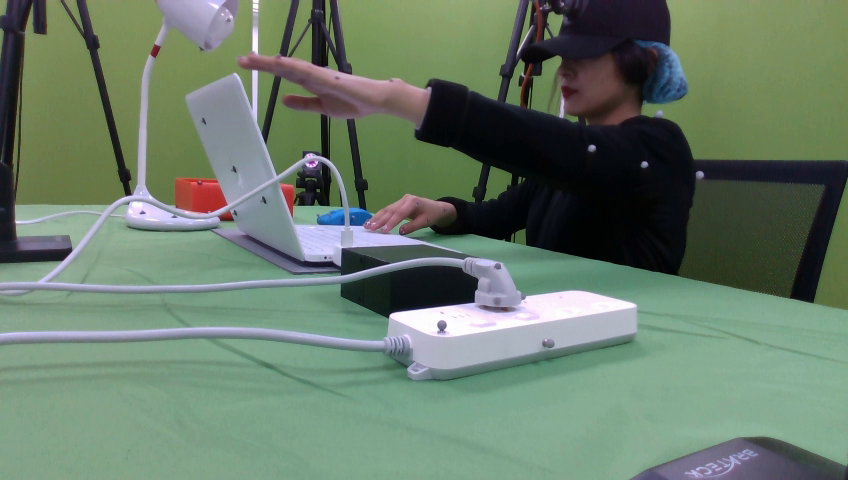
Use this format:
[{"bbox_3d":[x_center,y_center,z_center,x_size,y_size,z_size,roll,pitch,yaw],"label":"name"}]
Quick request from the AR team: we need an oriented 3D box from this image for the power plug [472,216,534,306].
[{"bbox_3d":[0.055,0.015,0.454,0.035,0.072,0.052,-23,1,-39],"label":"power plug"}]

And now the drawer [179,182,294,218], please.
[{"bbox_3d":[-0.420,-0.091,1.354,0.213,0.073,0.193,-3,10,-31],"label":"drawer"}]

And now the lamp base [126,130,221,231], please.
[{"bbox_3d":[-0.469,-0.112,1.108,0.179,0.180,0.160,0,7,3],"label":"lamp base"}]

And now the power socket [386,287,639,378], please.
[{"bbox_3d":[0.074,0.064,0.461,0.228,0.032,0.072,-4,8,-34],"label":"power socket"}]

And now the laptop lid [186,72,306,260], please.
[{"bbox_3d":[-0.263,-0.102,0.852,0.013,0.242,0.355,-25,20,-25],"label":"laptop lid"}]

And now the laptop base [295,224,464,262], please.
[{"bbox_3d":[-0.127,0.002,0.946,0.237,0.023,0.352,2,6,-30],"label":"laptop base"}]

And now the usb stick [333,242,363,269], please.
[{"bbox_3d":[-0.096,0.017,0.743,0.021,0.027,0.059,-4,10,-31],"label":"usb stick"}]

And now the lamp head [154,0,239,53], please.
[{"bbox_3d":[-0.406,-0.402,1.059,0.123,0.112,0.112,25,5,-6],"label":"lamp head"}]

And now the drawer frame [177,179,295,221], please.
[{"bbox_3d":[-0.422,-0.092,1.352,0.215,0.082,0.200,-3,10,-32],"label":"drawer frame"}]

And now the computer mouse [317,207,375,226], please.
[{"bbox_3d":[-0.163,-0.048,1.264,0.118,0.041,0.062,-6,12,-28],"label":"computer mouse"}]
